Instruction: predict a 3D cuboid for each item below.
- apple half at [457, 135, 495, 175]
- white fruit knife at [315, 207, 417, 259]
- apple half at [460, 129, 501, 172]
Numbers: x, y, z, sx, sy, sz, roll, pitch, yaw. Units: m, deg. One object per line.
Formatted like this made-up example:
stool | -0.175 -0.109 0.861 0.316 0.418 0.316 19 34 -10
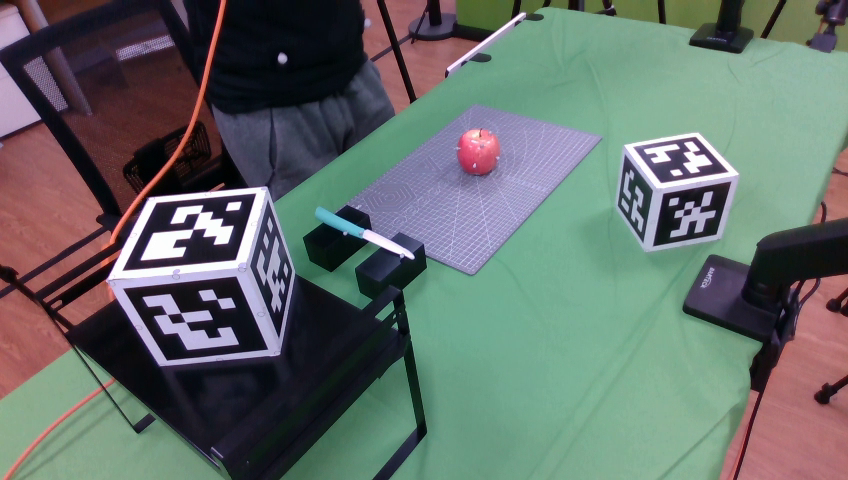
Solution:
apple half | 0.086 -0.145 1.083 0.080 0.081 0.033 22 44 29
white fruit knife | -0.094 -0.010 0.925 0.206 0.016 0.027 23 40 29
apple half | 0.109 -0.167 1.107 0.080 0.075 0.053 19 43 33
